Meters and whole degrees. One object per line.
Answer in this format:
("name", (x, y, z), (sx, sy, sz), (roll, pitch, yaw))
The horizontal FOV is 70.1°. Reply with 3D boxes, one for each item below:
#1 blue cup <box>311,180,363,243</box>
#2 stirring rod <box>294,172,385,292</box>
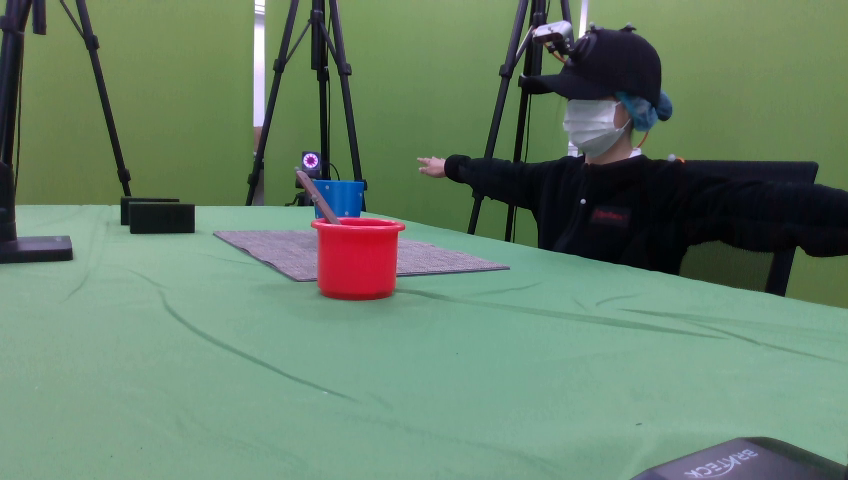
("blue cup", (-0.144, -0.047, 0.997), (0.093, 0.100, 0.092), (2, 6, 0))
("stirring rod", (-0.092, -0.012, 0.639), (0.014, 0.006, 0.175), (-2, 48, -53))
